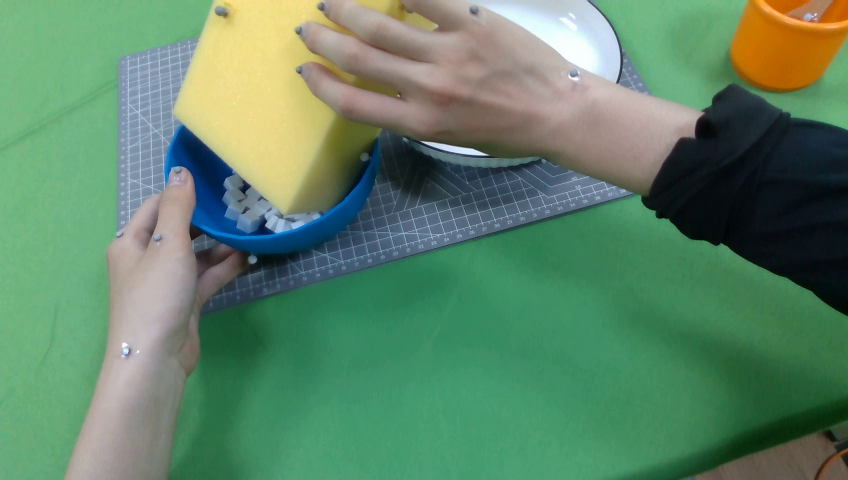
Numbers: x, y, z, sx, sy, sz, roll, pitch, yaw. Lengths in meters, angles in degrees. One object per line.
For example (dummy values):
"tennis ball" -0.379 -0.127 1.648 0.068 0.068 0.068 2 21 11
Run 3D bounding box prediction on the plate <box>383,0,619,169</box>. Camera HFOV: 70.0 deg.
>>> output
"plate" 0.055 -0.141 0.512 0.209 0.038 0.207 -3 61 5

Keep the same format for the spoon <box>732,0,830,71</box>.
"spoon" 0.324 -0.200 0.456 0.022 0.194 0.041 5 53 -44

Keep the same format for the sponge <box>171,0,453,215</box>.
"sponge" -0.067 -0.134 0.388 0.117 0.061 0.207 39 112 17

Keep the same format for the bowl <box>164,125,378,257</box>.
"bowl" -0.102 -0.044 0.452 0.151 0.077 0.150 -3 61 6
